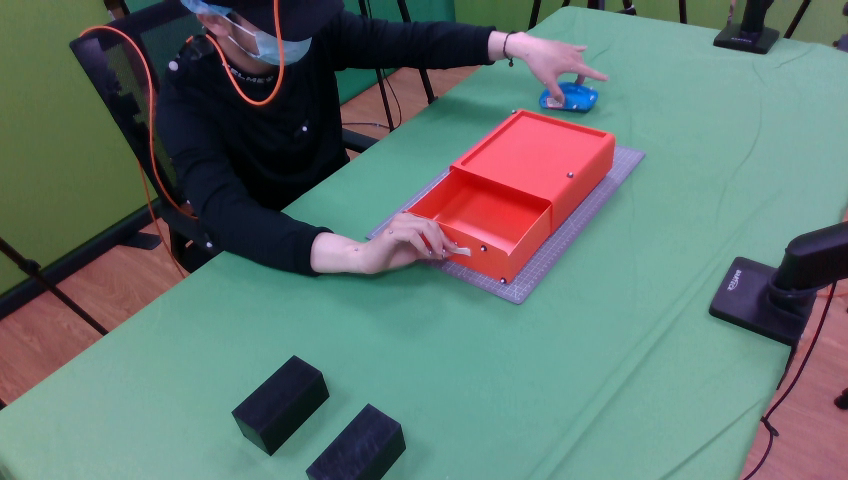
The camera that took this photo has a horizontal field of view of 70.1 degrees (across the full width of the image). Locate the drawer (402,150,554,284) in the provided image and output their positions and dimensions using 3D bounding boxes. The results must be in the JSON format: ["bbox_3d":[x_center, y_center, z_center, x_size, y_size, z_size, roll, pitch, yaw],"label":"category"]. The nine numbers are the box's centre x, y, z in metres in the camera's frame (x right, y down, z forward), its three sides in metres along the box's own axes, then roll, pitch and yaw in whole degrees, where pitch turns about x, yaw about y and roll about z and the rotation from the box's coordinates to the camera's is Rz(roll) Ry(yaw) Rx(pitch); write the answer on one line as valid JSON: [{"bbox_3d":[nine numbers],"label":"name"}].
[{"bbox_3d":[0.106,-0.049,0.963,0.193,0.073,0.212,23,50,31],"label":"drawer"}]

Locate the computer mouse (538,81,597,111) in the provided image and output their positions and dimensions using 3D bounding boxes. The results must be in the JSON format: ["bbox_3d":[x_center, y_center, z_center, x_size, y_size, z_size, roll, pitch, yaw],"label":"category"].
[{"bbox_3d":[0.299,-0.301,1.258,0.116,0.041,0.063,17,45,29],"label":"computer mouse"}]

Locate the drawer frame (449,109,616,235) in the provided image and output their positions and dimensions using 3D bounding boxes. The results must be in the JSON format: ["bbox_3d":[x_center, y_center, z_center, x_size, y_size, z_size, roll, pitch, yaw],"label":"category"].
[{"bbox_3d":[0.185,-0.124,1.033,0.200,0.083,0.214,23,49,31],"label":"drawer frame"}]
